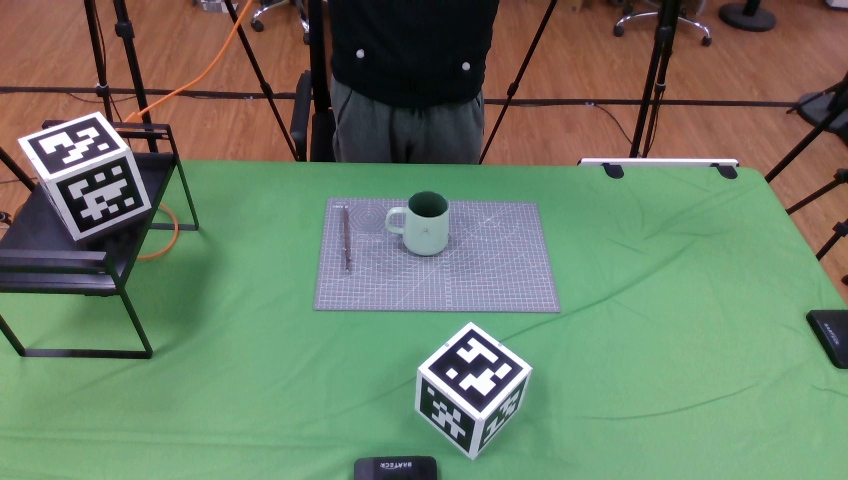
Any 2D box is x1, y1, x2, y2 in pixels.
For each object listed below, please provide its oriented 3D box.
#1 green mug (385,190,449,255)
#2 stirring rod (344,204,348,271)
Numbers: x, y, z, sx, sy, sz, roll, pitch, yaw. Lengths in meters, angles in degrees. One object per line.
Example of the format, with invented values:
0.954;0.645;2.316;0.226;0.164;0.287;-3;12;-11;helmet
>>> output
-0.013;-0.033;1.166;0.125;0.105;0.092;2;46;-2;green mug
-0.154;-0.007;1.191;0.006;0.014;0.175;-7;47;-2;stirring rod
